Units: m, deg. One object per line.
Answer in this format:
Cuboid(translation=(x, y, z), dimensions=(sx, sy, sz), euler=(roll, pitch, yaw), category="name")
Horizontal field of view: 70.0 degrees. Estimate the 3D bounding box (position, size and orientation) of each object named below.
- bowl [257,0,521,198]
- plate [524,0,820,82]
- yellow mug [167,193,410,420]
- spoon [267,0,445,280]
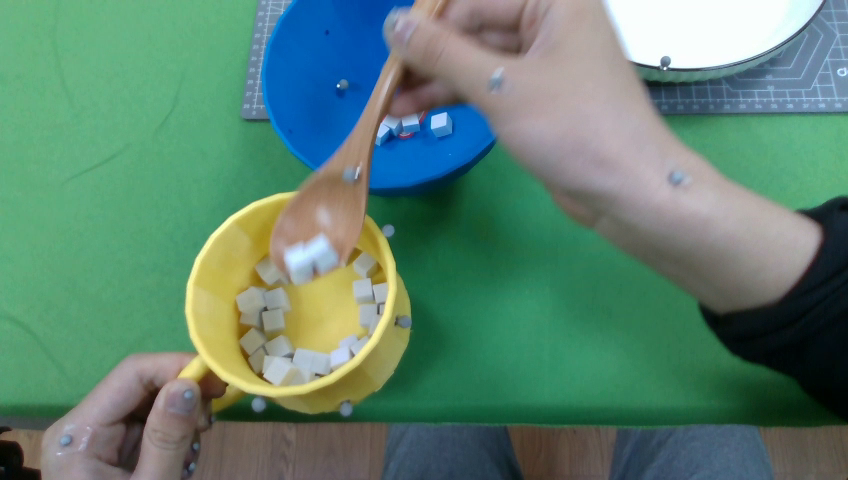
Cuboid(translation=(-0.017, -0.088, 0.378), dimensions=(0.151, 0.077, 0.150), euler=(-1, 75, 5), category="bowl")
Cuboid(translation=(0.164, -0.194, 0.420), dimensions=(0.209, 0.038, 0.207), euler=(-1, 71, 4), category="plate")
Cuboid(translation=(-0.072, 0.044, 0.306), dimensions=(0.131, 0.064, 0.099), euler=(-41, 71, -11), category="yellow mug")
Cuboid(translation=(-0.016, -0.067, 0.263), dimensions=(0.041, 0.022, 0.194), euler=(34, 104, 17), category="spoon")
